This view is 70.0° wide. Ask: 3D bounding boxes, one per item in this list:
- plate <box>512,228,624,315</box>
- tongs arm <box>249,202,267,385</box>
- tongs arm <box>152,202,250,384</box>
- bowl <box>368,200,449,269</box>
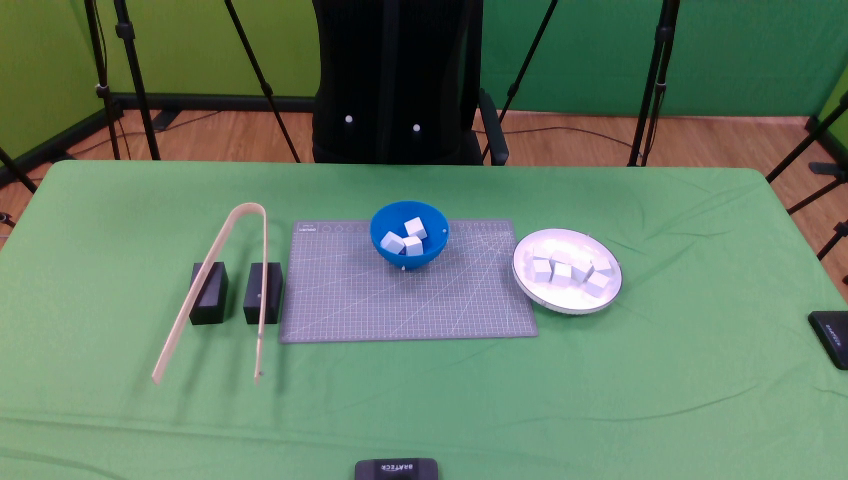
[{"bbox_3d":[0.268,0.063,1.146,0.208,0.039,0.206,3,46,-3],"label":"plate"},{"bbox_3d":[-0.292,0.074,1.032,0.051,0.026,0.382,-3,47,-5],"label":"tongs arm"},{"bbox_3d":[-0.371,0.071,1.028,0.028,0.028,0.385,4,46,6],"label":"tongs arm"},{"bbox_3d":[-0.031,0.002,1.150,0.151,0.077,0.150,2,46,-2],"label":"bowl"}]
